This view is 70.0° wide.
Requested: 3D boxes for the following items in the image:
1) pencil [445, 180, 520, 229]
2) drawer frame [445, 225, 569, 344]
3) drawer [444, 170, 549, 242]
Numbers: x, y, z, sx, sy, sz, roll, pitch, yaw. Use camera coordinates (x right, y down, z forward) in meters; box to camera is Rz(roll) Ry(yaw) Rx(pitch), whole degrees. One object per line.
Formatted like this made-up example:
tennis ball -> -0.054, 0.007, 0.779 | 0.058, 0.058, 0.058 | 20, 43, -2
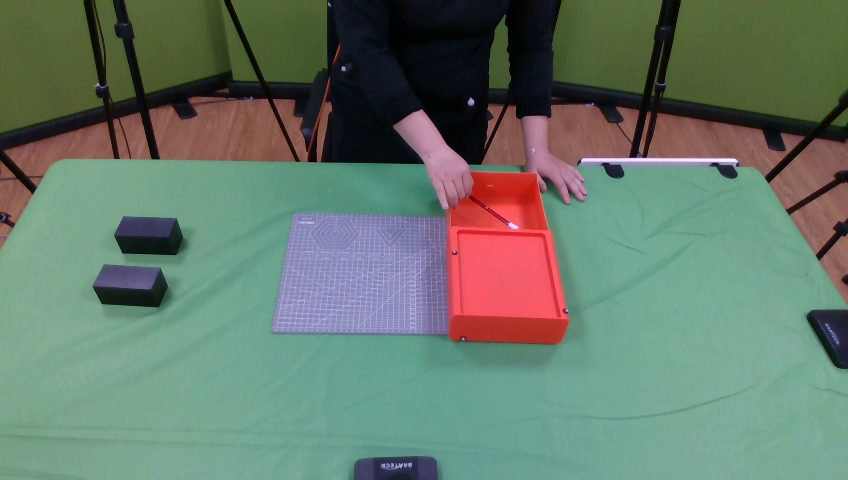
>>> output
pencil -> 0.115, -0.068, 1.200 | 0.193, 0.012, 0.012 | 37, 53, 22
drawer frame -> 0.141, 0.076, 1.089 | 0.202, 0.083, 0.212 | 2, 47, -3
drawer -> 0.141, -0.049, 1.217 | 0.194, 0.073, 0.210 | 2, 43, -3
